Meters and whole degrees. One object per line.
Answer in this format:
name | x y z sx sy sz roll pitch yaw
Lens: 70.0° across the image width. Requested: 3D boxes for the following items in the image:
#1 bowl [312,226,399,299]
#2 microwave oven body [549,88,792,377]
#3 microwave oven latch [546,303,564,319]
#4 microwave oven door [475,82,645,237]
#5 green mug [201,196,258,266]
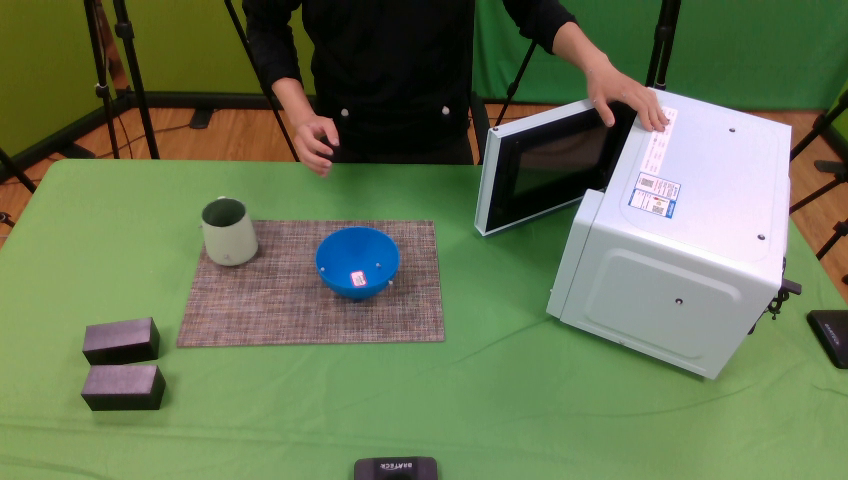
bowl | -0.120 0.054 1.091 0.151 0.077 0.150 2 46 -2
microwave oven body | 0.456 -0.028 1.088 0.325 0.261 0.440 20 47 16
microwave oven latch | 0.242 0.102 1.081 0.030 0.029 0.079 21 48 17
microwave oven door | 0.268 -0.160 1.193 0.356 0.245 0.039 -21 50 -22
green mug | -0.366 -0.025 1.130 0.092 0.105 0.124 -13 48 -16
